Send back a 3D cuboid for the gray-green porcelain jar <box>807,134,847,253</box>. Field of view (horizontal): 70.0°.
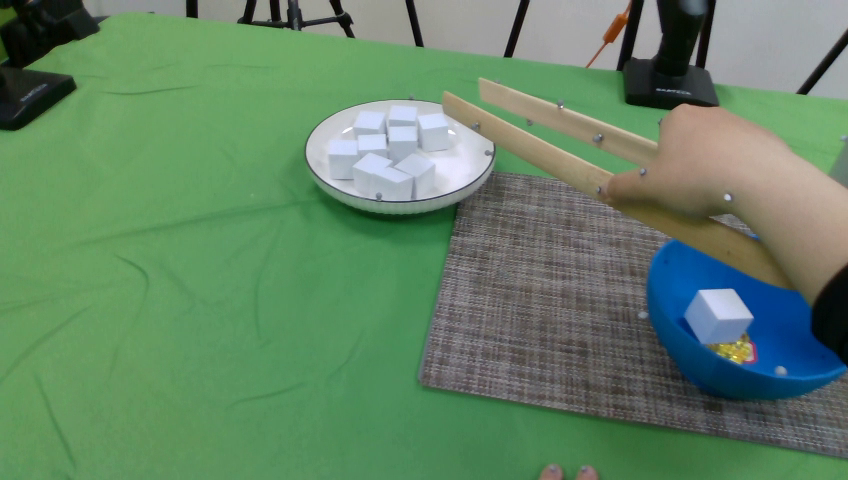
[{"bbox_3d":[0.427,-0.039,0.563,0.106,0.127,0.105,1,42,-1],"label":"gray-green porcelain jar"}]

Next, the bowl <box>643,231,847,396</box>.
[{"bbox_3d":[0.239,0.067,0.470,0.151,0.077,0.150,2,42,-1],"label":"bowl"}]

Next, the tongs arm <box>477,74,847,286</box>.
[{"bbox_3d":[0.148,-0.072,0.488,0.051,0.027,0.380,-23,38,-27],"label":"tongs arm"}]

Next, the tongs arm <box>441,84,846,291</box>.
[{"bbox_3d":[0.123,-0.062,0.476,0.028,0.028,0.383,-19,36,-27],"label":"tongs arm"}]

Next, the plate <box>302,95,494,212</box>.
[{"bbox_3d":[-0.027,-0.094,0.666,0.209,0.038,0.207,1,42,-1],"label":"plate"}]
